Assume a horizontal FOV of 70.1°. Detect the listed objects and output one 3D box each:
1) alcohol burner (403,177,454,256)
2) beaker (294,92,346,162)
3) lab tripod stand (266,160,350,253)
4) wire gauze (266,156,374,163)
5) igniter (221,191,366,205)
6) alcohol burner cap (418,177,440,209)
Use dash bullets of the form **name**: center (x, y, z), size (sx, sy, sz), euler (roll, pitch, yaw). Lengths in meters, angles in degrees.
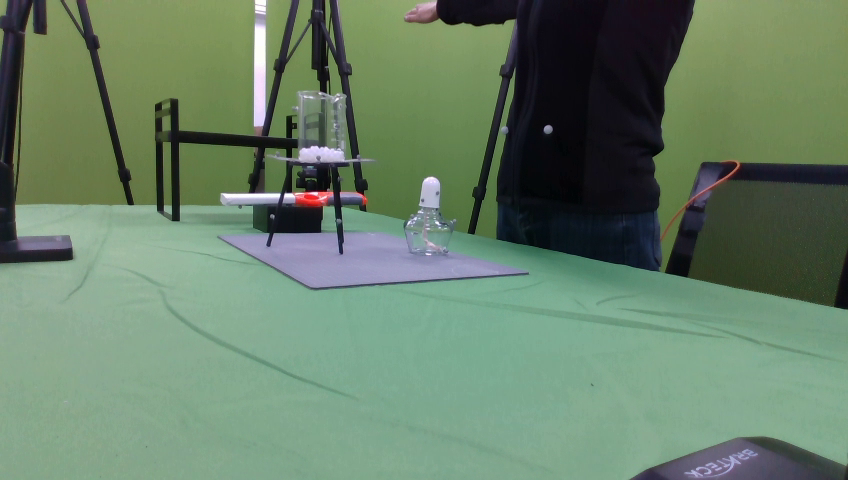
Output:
- **alcohol burner**: center (0.007, -0.036, 0.915), size (0.078, 0.119, 0.078), euler (4, 6, 0)
- **beaker**: center (-0.152, -0.165, 0.896), size (0.074, 0.100, 0.083), euler (-4, 10, -33)
- **lab tripod stand**: center (-0.163, -0.054, 0.914), size (0.148, 0.131, 0.148), euler (2, 9, 0)
- **wire gauze**: center (-0.154, -0.119, 0.910), size (0.122, 0.011, 0.124), euler (-4, 8, -45)
- **igniter**: center (-0.240, -0.079, 1.150), size (0.278, 0.025, 0.057), euler (-3, 20, -32)
- **alcohol burner cap**: center (0.009, -0.071, 0.909), size (0.034, 0.048, 0.034), euler (5, 9, 0)
